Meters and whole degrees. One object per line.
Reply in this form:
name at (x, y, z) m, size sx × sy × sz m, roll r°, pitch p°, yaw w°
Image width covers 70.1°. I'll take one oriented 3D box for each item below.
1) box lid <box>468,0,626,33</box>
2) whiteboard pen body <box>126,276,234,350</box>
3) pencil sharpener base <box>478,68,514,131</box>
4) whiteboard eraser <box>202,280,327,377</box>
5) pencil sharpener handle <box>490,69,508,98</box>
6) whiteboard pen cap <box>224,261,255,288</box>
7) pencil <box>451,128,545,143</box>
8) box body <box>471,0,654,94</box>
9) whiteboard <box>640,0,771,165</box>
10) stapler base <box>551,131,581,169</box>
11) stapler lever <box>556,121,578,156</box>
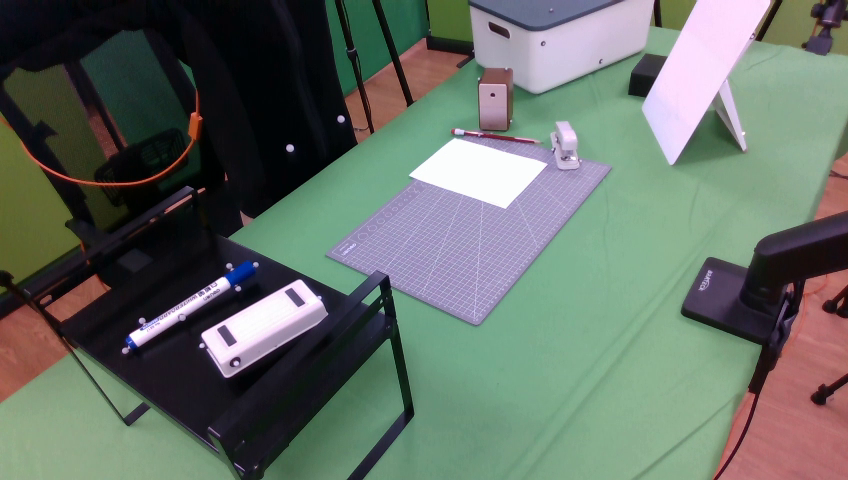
box lid at (0.312, -0.555, 1.357) m, size 0.373 × 0.015 × 0.261 m, roll -27°, pitch 44°, yaw -20°
whiteboard pen body at (-0.251, 0.070, 0.649) m, size 0.141 × 0.017 × 0.017 m, roll -36°, pitch 48°, yaw -26°
pencil sharpener base at (0.148, -0.286, 1.225) m, size 0.061 × 0.107 × 0.076 m, roll 5°, pitch 42°, yaw 15°
whiteboard eraser at (-0.156, 0.088, 0.600) m, size 0.113 × 0.042 × 0.055 m, roll -30°, pitch 47°, yaw -24°
pencil sharpener handle at (0.154, -0.330, 1.254) m, size 0.036 × 0.068 × 0.030 m, roll 20°, pitch 44°, yaw 0°
whiteboard pen cap at (-0.207, 0.039, 0.677) m, size 0.033 × 0.018 × 0.018 m, roll -36°, pitch 47°, yaw -18°
pencil at (0.145, -0.207, 1.205) m, size 0.193 × 0.012 × 0.012 m, roll 11°, pitch 44°, yaw 20°
box body at (0.319, -0.498, 1.405) m, size 0.365 × 0.161 × 0.252 m, roll -26°, pitch 43°, yaw -21°
whiteboard at (0.543, -0.299, 1.076) m, size 0.144 × 0.305 × 0.216 m, roll 12°, pitch 40°, yaw -7°
stapler base at (0.268, -0.178, 1.142) m, size 0.041 × 0.024 × 0.130 m, roll 0°, pitch 37°, yaw 3°
stapler lever at (0.266, -0.198, 1.128) m, size 0.027 × 0.040 × 0.117 m, roll 0°, pitch 38°, yaw 3°
